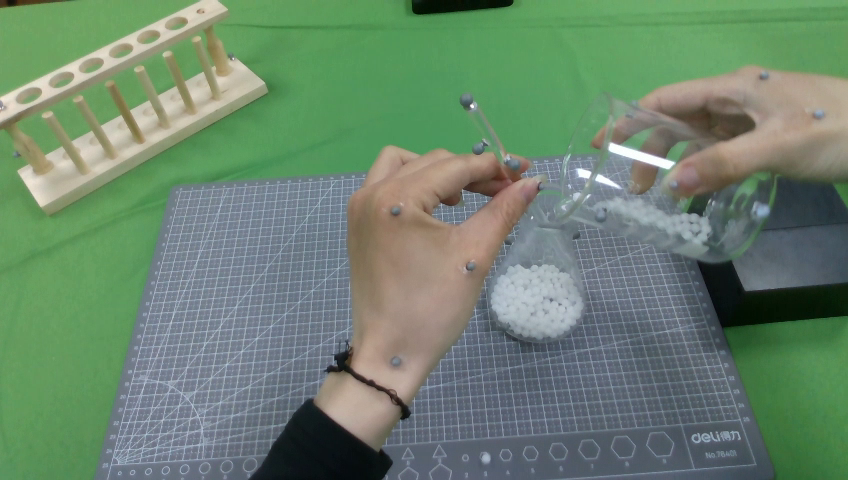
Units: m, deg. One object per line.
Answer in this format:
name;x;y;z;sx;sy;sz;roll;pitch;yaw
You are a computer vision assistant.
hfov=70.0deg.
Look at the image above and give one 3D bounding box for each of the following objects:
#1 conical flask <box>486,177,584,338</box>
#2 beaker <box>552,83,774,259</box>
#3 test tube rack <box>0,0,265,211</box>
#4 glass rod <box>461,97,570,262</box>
conical flask;0.081;0.010;0.423;0.075;0.123;0.074;-2;54;3
beaker;0.133;-0.034;0.347;0.100;0.084;0.073;18;60;-4
test tube rack;-0.283;-0.137;0.583;0.242;0.086;0.066;-37;59;-21
glass rod;0.060;-0.024;0.355;0.008;0.202;0.008;-11;63;22
